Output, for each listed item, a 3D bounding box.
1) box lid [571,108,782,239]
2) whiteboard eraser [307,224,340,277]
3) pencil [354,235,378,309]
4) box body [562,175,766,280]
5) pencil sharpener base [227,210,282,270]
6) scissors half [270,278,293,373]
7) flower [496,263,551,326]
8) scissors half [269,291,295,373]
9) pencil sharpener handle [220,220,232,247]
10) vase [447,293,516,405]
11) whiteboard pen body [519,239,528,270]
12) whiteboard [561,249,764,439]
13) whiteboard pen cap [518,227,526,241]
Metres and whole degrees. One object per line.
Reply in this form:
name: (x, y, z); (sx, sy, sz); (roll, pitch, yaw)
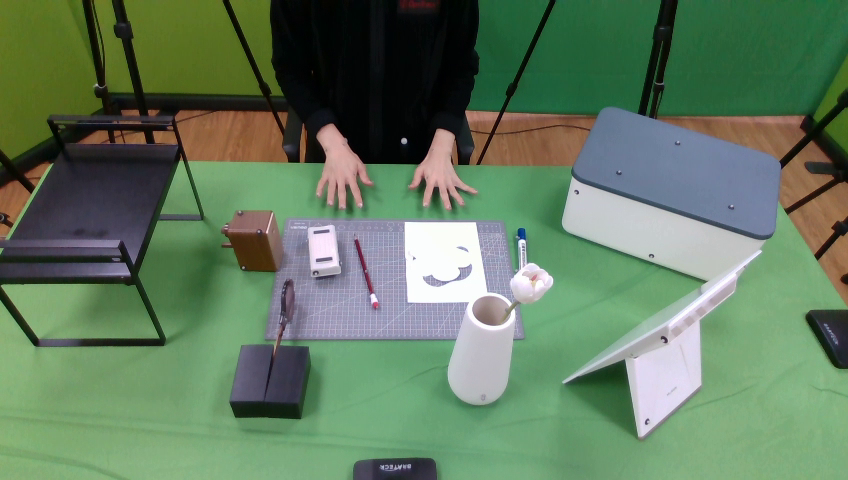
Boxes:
box lid: (0.491, -0.139, 1.168); (0.370, 0.015, 0.262); (21, 49, 15)
whiteboard eraser: (-0.191, 0.022, 1.144); (0.056, 0.042, 0.112); (-5, 47, -10)
pencil: (-0.113, 0.055, 1.143); (0.012, 0.012, 0.192); (-10, 46, -13)
box body: (0.486, -0.088, 1.222); (0.363, 0.161, 0.253); (20, 48, 15)
pencil sharpener base: (-0.311, 0.001, 1.112); (0.077, 0.107, 0.061); (1, 47, 1)
scissors half: (-0.236, 0.137, 0.994); (0.013, 0.040, 0.174); (0, 55, 3)
flower: (0.102, 0.121, 0.853); (0.044, 0.363, 0.038); (-2, 64, -10)
scissors half: (-0.237, 0.151, 1.009); (0.013, 0.040, 0.174); (4, 38, 0)
pencil sharpener handle: (-0.362, -0.009, 1.105); (0.030, 0.068, 0.036); (1, 52, 1)
vase: (0.091, 0.169, 0.921); (0.098, 0.201, 0.097); (3, 47, -3)
whiteboard pen body: (0.193, 0.035, 1.181); (0.017, 0.017, 0.140); (6, 48, 1)
whiteboard: (0.386, 0.176, 0.905); (0.217, 0.306, 0.143); (-26, 72, -26)
whiteboard pen cap: (0.197, -0.009, 1.220); (0.018, 0.018, 0.033); (5, 51, 1)
